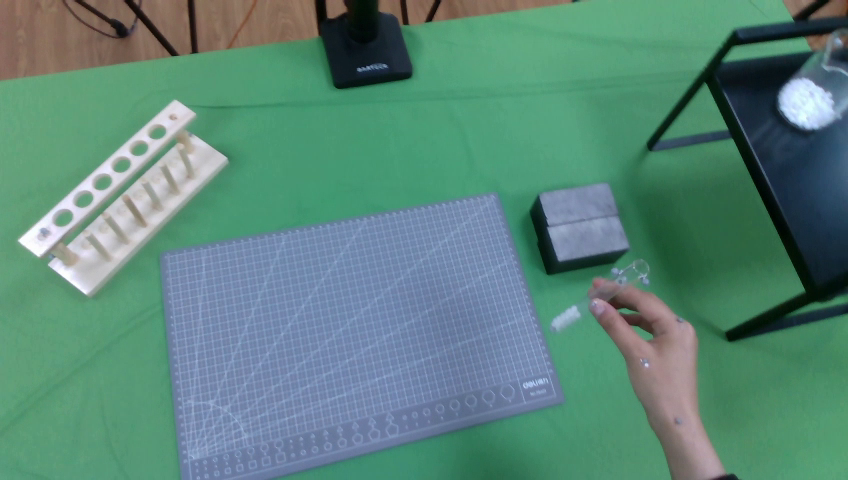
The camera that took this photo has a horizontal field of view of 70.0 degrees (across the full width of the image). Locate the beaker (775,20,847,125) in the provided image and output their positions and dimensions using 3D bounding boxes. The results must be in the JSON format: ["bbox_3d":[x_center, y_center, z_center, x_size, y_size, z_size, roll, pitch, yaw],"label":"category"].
[{"bbox_3d":[0.456,-0.183,0.686,0.084,0.101,0.073,-15,69,-11],"label":"beaker"}]

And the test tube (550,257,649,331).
[{"bbox_3d":[0.159,0.055,0.566,0.017,0.151,0.017,9,60,-15],"label":"test tube"}]

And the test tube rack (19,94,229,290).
[{"bbox_3d":[-0.358,-0.061,0.748,0.066,0.085,0.241,34,68,9],"label":"test tube rack"}]
